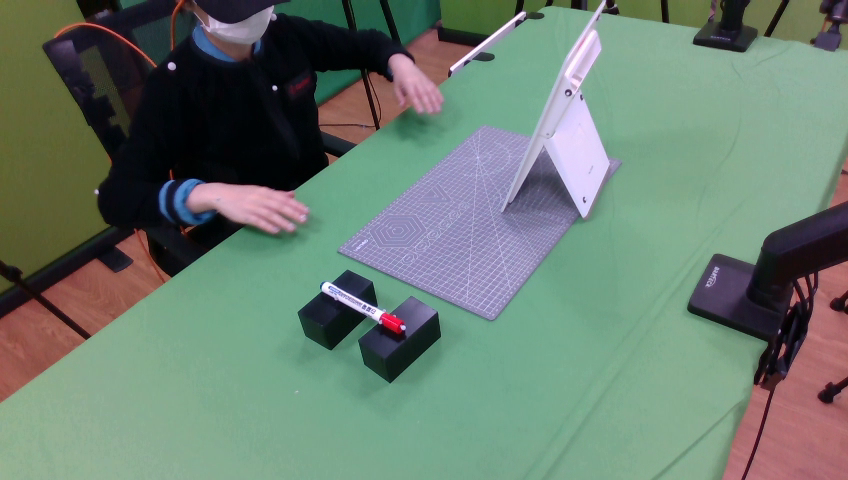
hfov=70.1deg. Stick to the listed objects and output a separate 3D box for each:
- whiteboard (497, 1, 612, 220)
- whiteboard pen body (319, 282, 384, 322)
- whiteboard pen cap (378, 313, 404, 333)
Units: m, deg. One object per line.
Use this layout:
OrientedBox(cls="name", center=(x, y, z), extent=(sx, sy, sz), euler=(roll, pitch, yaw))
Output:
OrientedBox(cls="whiteboard", center=(0.260, -0.178, 0.963), extent=(0.143, 0.306, 0.217), euler=(28, 49, 9))
OrientedBox(cls="whiteboard pen body", center=(-0.088, 0.086, 0.806), extent=(0.139, 0.017, 0.017), euler=(23, 49, 32))
OrientedBox(cls="whiteboard pen cap", center=(-0.043, 0.106, 0.777), extent=(0.032, 0.017, 0.017), euler=(23, 49, 33))
